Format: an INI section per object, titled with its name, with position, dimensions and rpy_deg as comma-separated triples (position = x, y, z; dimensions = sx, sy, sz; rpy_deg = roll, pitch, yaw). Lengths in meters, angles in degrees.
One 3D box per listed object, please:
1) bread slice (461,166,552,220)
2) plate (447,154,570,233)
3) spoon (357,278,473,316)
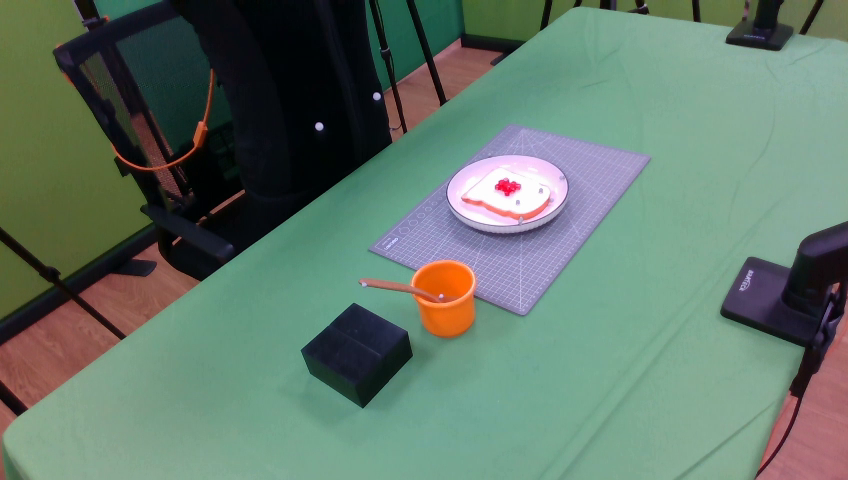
[bread slice]
position = 0.149, -0.079, 1.036
dimensions = 0.133, 0.018, 0.107
rpy_deg = 22, 50, 32
[plate]
position = 0.143, -0.076, 1.032
dimensions = 0.209, 0.038, 0.208
rpy_deg = -5, 40, 5
[spoon]
position = -0.007, 0.072, 0.804
dimensions = 0.021, 0.195, 0.041
rpy_deg = -54, 41, 17
